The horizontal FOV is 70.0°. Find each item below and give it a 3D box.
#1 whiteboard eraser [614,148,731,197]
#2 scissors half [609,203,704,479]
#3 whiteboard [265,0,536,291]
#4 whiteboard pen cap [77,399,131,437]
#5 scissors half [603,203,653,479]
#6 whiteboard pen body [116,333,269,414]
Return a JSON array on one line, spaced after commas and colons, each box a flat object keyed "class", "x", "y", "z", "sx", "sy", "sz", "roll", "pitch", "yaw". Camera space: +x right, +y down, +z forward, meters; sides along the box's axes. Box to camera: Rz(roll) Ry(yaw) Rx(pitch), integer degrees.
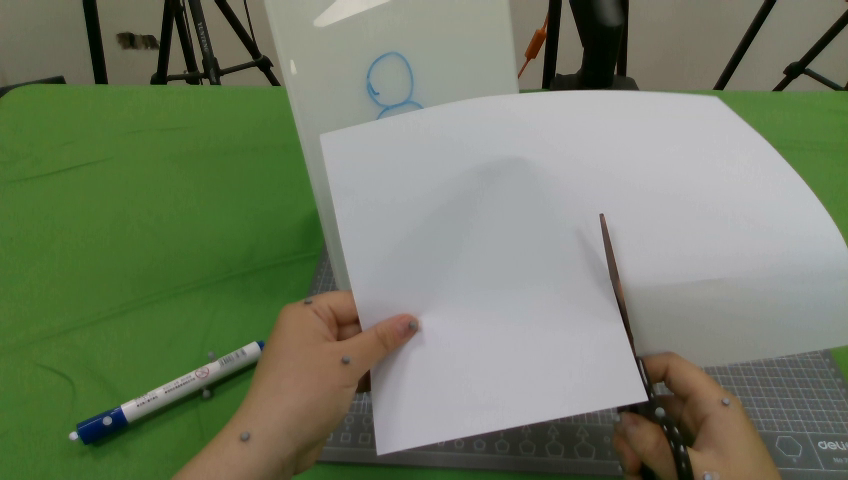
[{"class": "whiteboard eraser", "x": 0.272, "y": -0.074, "z": 0.669, "sx": 0.113, "sy": 0.042, "sz": 0.055, "roll": 0, "pitch": 42, "yaw": 0}, {"class": "scissors half", "x": 0.128, "y": 0.060, "z": 0.349, "sx": 0.013, "sy": 0.040, "sz": 0.174, "roll": -4, "pitch": 72, "yaw": -19}, {"class": "whiteboard", "x": -0.032, "y": -0.141, "z": 0.599, "sx": 0.218, "sy": 0.307, "sz": 0.142, "roll": -17, "pitch": 22, "yaw": -17}, {"class": "whiteboard pen cap", "x": -0.236, "y": 0.130, "z": 0.449, "sx": 0.033, "sy": 0.018, "sz": 0.018, "roll": -26, "pitch": 46, "yaw": -27}, {"class": "scissors half", "x": 0.122, "y": 0.065, "z": 0.368, "sx": 0.013, "sy": 0.175, "sz": 0.040, "roll": -2, "pitch": 0, "yaw": -25}, {"class": "whiteboard pen body", "x": -0.189, "y": 0.108, "z": 0.475, "sx": 0.141, "sy": 0.017, "sz": 0.017, "roll": -24, "pitch": 45, "yaw": -27}]
